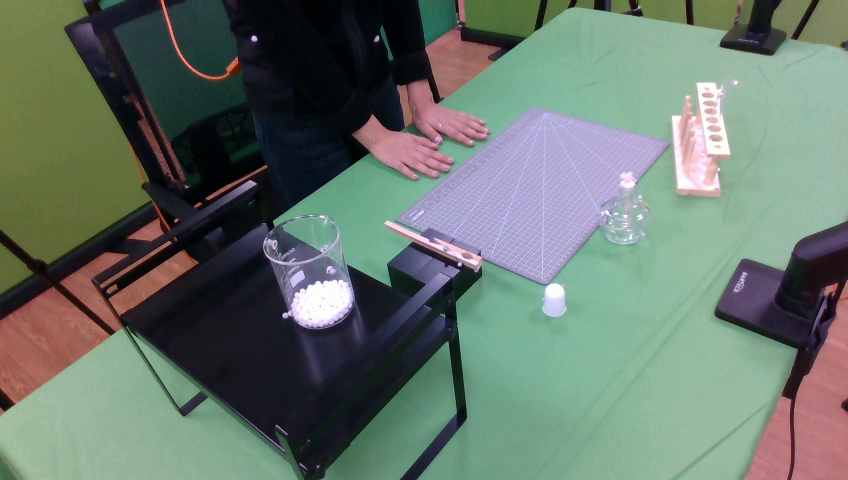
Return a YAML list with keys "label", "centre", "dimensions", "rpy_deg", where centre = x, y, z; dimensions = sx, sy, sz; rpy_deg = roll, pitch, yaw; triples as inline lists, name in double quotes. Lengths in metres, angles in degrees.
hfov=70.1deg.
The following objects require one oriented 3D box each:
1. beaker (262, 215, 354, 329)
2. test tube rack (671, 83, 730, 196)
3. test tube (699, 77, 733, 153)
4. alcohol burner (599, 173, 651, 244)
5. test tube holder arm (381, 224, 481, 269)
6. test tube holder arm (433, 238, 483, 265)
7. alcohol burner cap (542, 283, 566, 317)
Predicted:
- label: "beaker"
  centre: [-0.112, 0.034, 0.616]
  dimensions: [0.073, 0.101, 0.084]
  rpy_deg: [13, 44, 23]
- label: "test tube rack"
  centre: [0.482, -0.184, 1.067]
  dimensions: [0.066, 0.085, 0.242]
  rpy_deg: [5, 42, 15]
- label: "test tube"
  centre: [0.489, -0.207, 1.017]
  dimensions: [0.017, 0.151, 0.017]
  rpy_deg: [-2, 48, 3]
- label: "alcohol burner"
  centre: [0.307, -0.052, 0.920]
  dimensions: [0.078, 0.119, 0.077]
  rpy_deg: [-6, 42, 6]
- label: "test tube holder arm"
  centre: [0.007, 0.008, 0.896]
  dimensions: [0.177, 0.015, 0.013]
  rpy_deg: [19, 49, 30]
- label: "test tube holder arm"
  centre: [0.047, 0.017, 0.876]
  dimensions: [0.087, 0.015, 0.010]
  rpy_deg: [21, 50, 31]
- label: "alcohol burner cap"
  centre: [0.181, 0.081, 0.840]
  dimensions: [0.034, 0.048, 0.033]
  rpy_deg: [-3, 40, 3]
